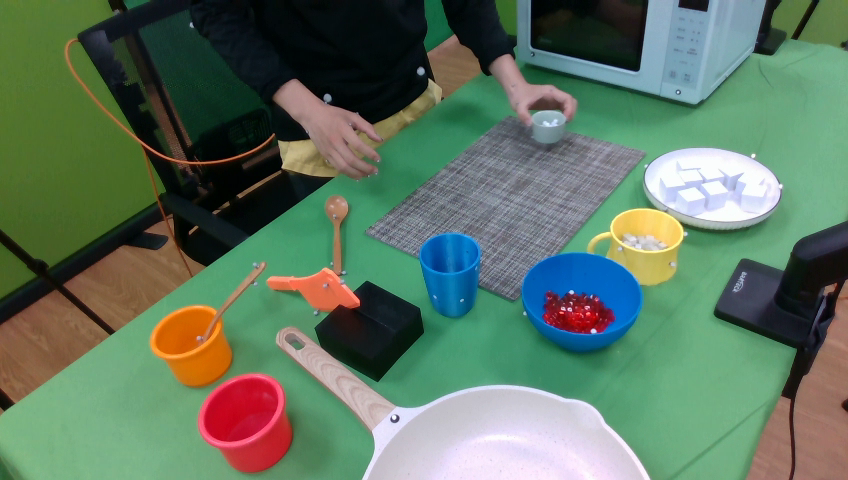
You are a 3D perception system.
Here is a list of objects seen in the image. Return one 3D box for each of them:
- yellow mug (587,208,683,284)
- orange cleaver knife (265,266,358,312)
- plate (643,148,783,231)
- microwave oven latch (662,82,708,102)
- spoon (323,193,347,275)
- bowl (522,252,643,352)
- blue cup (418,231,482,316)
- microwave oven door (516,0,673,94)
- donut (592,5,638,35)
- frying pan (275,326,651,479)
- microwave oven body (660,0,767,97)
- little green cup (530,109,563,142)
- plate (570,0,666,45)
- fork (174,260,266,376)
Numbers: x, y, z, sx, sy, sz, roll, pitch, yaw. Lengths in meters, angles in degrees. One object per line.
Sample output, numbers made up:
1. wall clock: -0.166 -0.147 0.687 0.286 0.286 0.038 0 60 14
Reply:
1. yellow mug: 0.305 0.009 0.884 0.131 0.064 0.099 -4 41 5
2. orange cleaver knife: -0.164 0.073 0.864 0.210 0.077 0.012 -6 31 50
3. plate: 0.464 -0.080 0.986 0.207 0.039 0.206 -4 41 4
4. microwave oven latch: 0.517 -0.298 1.202 0.078 0.029 0.030 28 52 35
5. spoon: -0.148 -0.014 1.008 0.042 0.022 0.192 1 40 -9
6. bowl: 0.204 0.093 0.792 0.151 0.077 0.150 -4 40 4
7. blue cup: 0.040 0.053 0.843 0.092 0.100 0.092 -4 43 4
8. microwave oven door: 0.344 -0.458 1.257 0.353 0.245 0.039 26 52 33
9. donut: 0.428 -0.492 1.352 0.099 0.048 0.098 -6 42 6
10. frying pan: 0.004 0.229 0.641 0.484 0.103 0.308 34 54 28
11. microwave oven body: 0.473 -0.516 1.314 0.438 0.261 0.327 26 51 34
12. little green cup: 0.224 -0.211 1.113 0.061 0.039 0.061 -3 40 3
13. plate: 0.436 -0.489 1.368 0.209 0.038 0.208 -5 40 5
14. fork: -0.268 0.103 0.792 0.207 0.019 0.028 -51 41 16
